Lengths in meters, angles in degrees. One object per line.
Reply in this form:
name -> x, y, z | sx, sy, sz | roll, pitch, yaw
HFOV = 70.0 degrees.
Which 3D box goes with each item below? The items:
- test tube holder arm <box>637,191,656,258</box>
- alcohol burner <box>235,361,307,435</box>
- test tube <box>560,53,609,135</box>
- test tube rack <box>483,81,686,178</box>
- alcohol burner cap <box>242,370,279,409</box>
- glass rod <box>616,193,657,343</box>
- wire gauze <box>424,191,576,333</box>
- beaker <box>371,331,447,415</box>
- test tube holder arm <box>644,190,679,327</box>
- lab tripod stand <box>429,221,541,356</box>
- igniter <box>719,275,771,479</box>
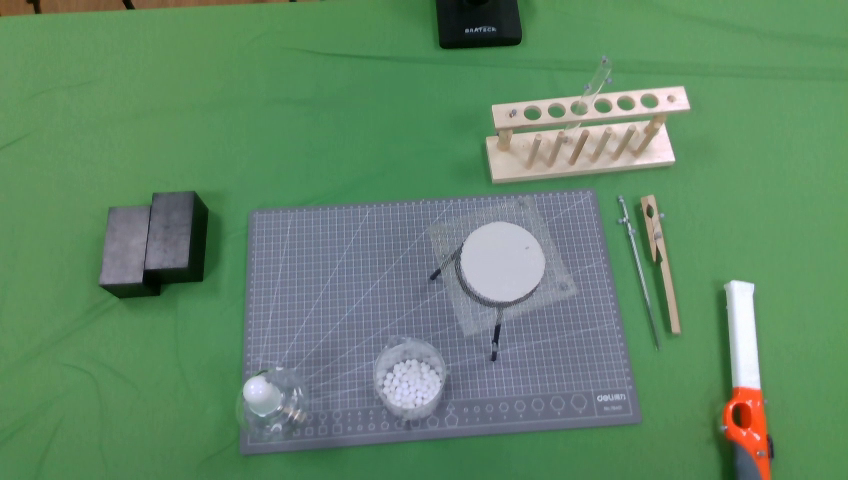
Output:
test tube holder arm -> 0.285, -0.020, 0.768 | 0.010, 0.015, 0.087 | -17, 66, 29
alcohol burner -> -0.164, 0.162, 0.636 | 0.078, 0.120, 0.077 | 0, 66, 0
test tube -> 0.192, -0.172, 0.737 | 0.017, 0.151, 0.017 | 2, 67, -4
test tube rack -> 0.203, -0.140, 0.778 | 0.242, 0.086, 0.066 | -6, 68, -3
alcohol burner cap -> -0.165, 0.147, 0.604 | 0.034, 0.048, 0.033 | 1, 58, -1
glass rod -> 0.262, 0.031, 0.752 | 0.008, 0.008, 0.198 | -5, 68, -3
wire gauze -> 0.075, 0.017, 0.613 | 0.121, 0.011, 0.124 | -18, 70, -6
beaker -> -0.018, 0.146, 0.652 | 0.074, 0.101, 0.083 | -24, 69, -10
test tube holder arm -> 0.293, 0.020, 0.749 | 0.013, 0.015, 0.177 | -17, 66, 29
lab tripod stand -> 0.071, 0.044, 0.675 | 0.148, 0.132, 0.147 | 0, 69, 1
igniter -> 0.361, 0.173, 0.687 | 0.057, 0.025, 0.274 | 10, 68, -7
